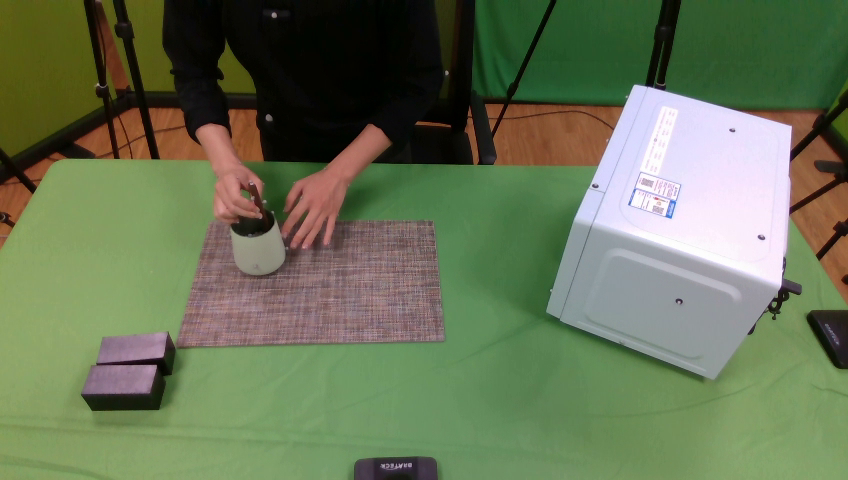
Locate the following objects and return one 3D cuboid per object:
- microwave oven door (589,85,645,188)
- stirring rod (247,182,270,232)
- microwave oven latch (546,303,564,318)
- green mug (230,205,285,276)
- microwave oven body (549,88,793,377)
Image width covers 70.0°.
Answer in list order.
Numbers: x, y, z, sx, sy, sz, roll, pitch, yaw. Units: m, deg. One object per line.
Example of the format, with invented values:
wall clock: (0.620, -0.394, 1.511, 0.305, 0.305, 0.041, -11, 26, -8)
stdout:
microwave oven door: (0.342, -0.107, 1.148, 0.039, 0.245, 0.354, 20, 48, 15)
stirring rod: (-0.283, -0.039, 1.063, 0.014, 0.177, 0.006, 14, 54, 12)
microwave oven latch: (0.242, 0.102, 1.081, 0.030, 0.029, 0.079, 22, 48, 17)
green mug: (-0.311, -0.008, 1.117, 0.092, 0.105, 0.124, -14, 49, -16)
microwave oven body: (0.456, -0.028, 1.087, 0.325, 0.261, 0.440, 20, 47, 16)
